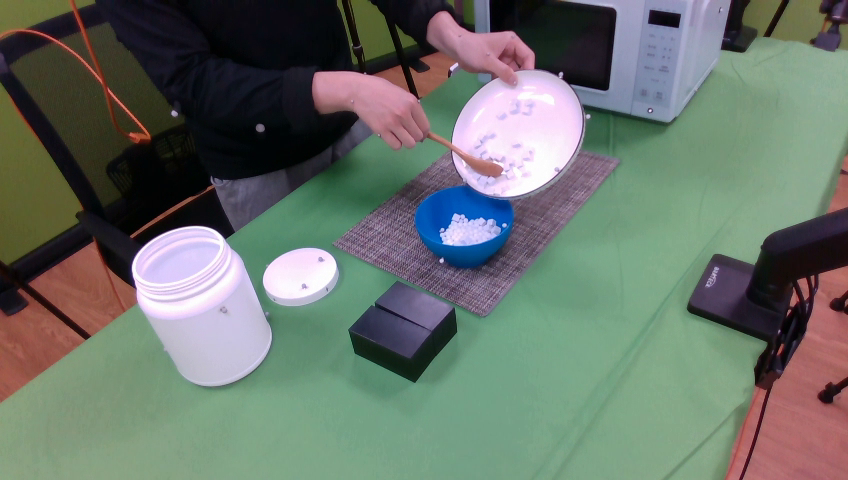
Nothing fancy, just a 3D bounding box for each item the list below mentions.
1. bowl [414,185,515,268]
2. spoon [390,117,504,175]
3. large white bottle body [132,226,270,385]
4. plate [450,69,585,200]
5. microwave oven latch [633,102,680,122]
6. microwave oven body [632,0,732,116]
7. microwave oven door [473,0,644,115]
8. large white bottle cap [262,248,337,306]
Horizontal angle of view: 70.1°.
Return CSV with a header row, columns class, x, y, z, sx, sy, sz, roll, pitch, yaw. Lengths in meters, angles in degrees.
class,x,y,z,sx,sy,sz,roll,pitch,yaw
bowl,0.063,-0.010,0.922,0.151,0.077,0.150,-4,40,4
spoon,0.034,-0.145,0.922,0.193,0.042,0.021,30,78,11
large white bottle body,-0.286,0.085,0.784,0.130,0.185,0.130,-4,41,4
plate,0.140,-0.155,0.912,0.208,0.038,0.208,-8,71,25
microwave oven latch,0.443,-0.249,1.157,0.078,0.029,0.030,21,49,30
microwave oven body,0.377,-0.462,1.267,0.438,0.261,0.327,21,48,30
microwave oven door,0.257,-0.396,1.199,0.353,0.245,0.039,21,48,29
large white bottle cap,-0.193,0.056,0.934,0.115,0.018,0.114,-4,41,4
